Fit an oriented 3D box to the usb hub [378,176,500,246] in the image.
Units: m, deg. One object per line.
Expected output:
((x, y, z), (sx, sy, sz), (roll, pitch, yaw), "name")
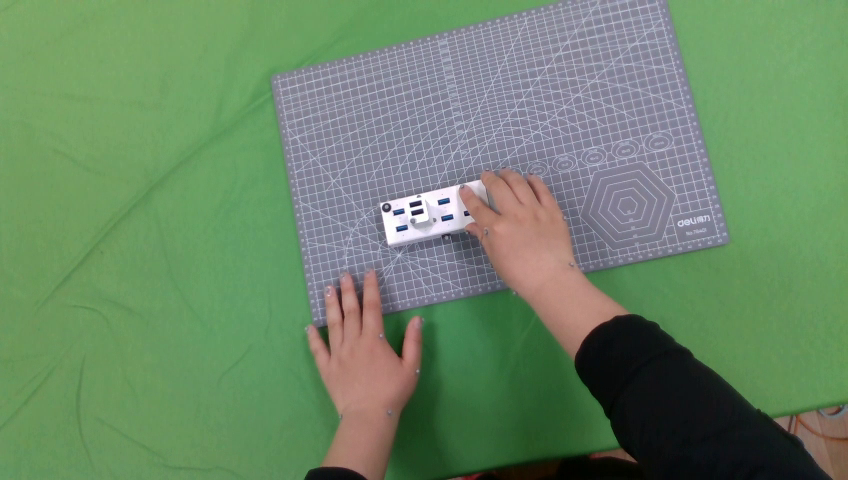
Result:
((0.016, -0.032, 0.654), (0.125, 0.025, 0.049), (-13, 82, 6), "usb hub")

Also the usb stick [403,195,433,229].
((-0.005, -0.027, 0.627), (0.021, 0.059, 0.027), (-17, 78, 5), "usb stick")
